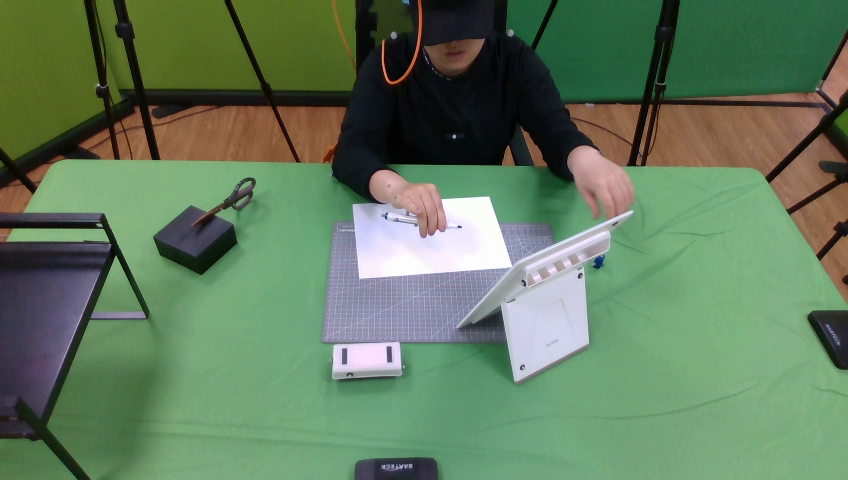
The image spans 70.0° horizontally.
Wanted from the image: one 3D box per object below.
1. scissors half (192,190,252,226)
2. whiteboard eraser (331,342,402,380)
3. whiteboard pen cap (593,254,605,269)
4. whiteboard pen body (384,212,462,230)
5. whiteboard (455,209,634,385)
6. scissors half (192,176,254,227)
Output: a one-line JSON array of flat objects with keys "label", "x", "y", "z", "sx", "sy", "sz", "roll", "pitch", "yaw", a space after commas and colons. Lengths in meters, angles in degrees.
[{"label": "scissors half", "x": -0.393, "y": -0.060, "z": 1.187, "sx": 0.013, "sy": 0.040, "sz": 0.175, "roll": 25, "pitch": 29, "yaw": 12}, {"label": "whiteboard eraser", "x": -0.094, "y": 0.198, "z": 0.986, "sx": 0.113, "sy": 0.042, "sz": 0.055, "roll": -2, "pitch": 44, "yaw": -6}, {"label": "whiteboard pen cap", "x": 0.340, "y": 0.041, "z": 1.179, "sx": 0.018, "sy": 0.033, "sz": 0.018, "roll": 1, "pitch": 46, "yaw": -1}, {"label": "whiteboard pen body", "x": -0.003, "y": -0.032, "z": 1.065, "sx": 0.140, "sy": 0.017, "sz": 0.017, "roll": 9, "pitch": 46, "yaw": 10}, {"label": "whiteboard", "x": 0.211, "y": 0.111, "z": 0.955, "sx": 0.217, "sy": 0.306, "sz": 0.143, "roll": -21, "pitch": 71, "yaw": -23}, {"label": "scissors half", "x": -0.388, "y": -0.075, "z": 1.174, "sx": 0.013, "sy": 0.040, "sz": 0.174, "roll": 29, "pitch": 47, "yaw": 8}]
